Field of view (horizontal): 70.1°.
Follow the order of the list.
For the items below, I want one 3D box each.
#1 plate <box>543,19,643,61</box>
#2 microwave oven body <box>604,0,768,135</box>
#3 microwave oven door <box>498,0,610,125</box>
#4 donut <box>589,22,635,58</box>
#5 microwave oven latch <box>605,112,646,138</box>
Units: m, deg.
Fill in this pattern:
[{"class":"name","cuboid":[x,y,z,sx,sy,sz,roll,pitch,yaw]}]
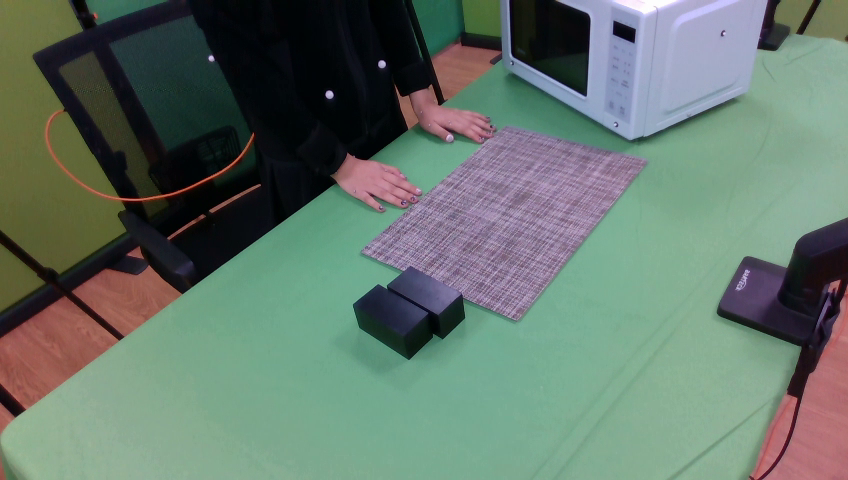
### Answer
[{"class":"plate","cuboid":[0.359,-0.426,1.293,0.209,0.038,0.208,-1,36,1]},{"class":"microwave oven body","cuboid":[0.411,-0.441,1.235,0.327,0.261,0.437,-25,42,-16]},{"class":"microwave oven door","cuboid":[0.261,-0.410,1.219,0.039,0.245,0.352,-24,42,-17]},{"class":"donut","cuboid":[0.402,-0.429,1.294,0.099,0.048,0.098,3,50,-3]},{"class":"microwave oven latch","cuboid":[0.375,-0.217,1.130,0.030,0.029,0.078,-25,42,-16]}]
